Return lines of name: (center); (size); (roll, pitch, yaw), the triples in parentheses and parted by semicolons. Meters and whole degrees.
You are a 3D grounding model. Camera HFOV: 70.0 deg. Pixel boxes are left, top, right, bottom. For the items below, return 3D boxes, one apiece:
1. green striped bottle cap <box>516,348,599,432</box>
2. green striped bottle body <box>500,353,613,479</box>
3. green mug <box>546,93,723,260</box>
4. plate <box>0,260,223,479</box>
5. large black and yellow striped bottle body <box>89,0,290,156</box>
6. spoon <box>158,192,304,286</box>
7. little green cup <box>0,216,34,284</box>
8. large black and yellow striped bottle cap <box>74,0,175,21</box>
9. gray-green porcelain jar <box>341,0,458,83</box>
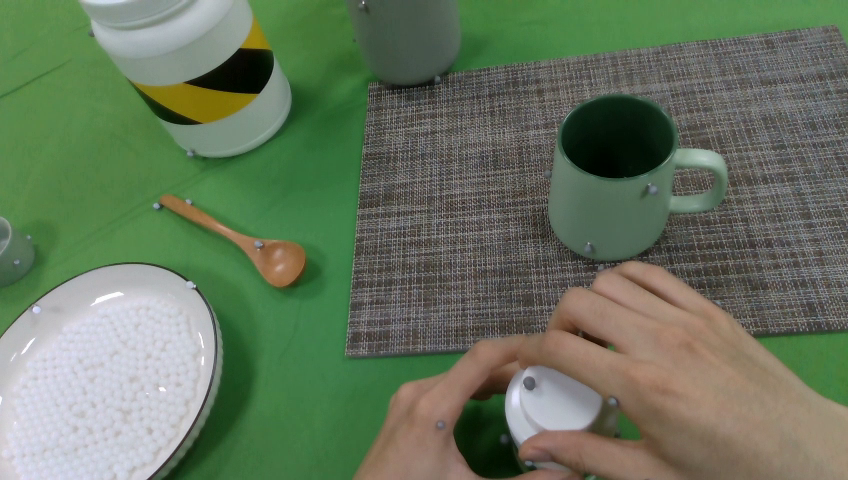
green striped bottle cap: (0.072, 0.081, 0.327); (0.044, 0.020, 0.044); (-3, 65, 6)
green striped bottle body: (0.081, 0.108, 0.370); (0.063, 0.120, 0.062); (-5, 59, 10)
green mug: (0.154, -0.044, 0.451); (0.125, 0.106, 0.092); (3, 60, 13)
plate: (-0.255, 0.114, 0.480); (0.209, 0.038, 0.207); (-5, 58, 8)
large black and yellow striped bottle body: (-0.217, -0.181, 0.563); (0.130, 0.186, 0.129); (-5, 59, 8)
spoon: (-0.180, -0.009, 0.548); (0.192, 0.022, 0.041); (26, 86, 23)
little green cup: (-0.405, 0.011, 0.570); (0.061, 0.039, 0.061); (-4, 59, 8)
large black and yellow striped bottle cap: (-0.232, -0.223, 0.492); (0.115, 0.019, 0.114); (-4, 58, 7)
gray-green porcelain jar: (-0.023, -0.226, 0.584); (0.106, 0.128, 0.105); (-5, 55, 8)
